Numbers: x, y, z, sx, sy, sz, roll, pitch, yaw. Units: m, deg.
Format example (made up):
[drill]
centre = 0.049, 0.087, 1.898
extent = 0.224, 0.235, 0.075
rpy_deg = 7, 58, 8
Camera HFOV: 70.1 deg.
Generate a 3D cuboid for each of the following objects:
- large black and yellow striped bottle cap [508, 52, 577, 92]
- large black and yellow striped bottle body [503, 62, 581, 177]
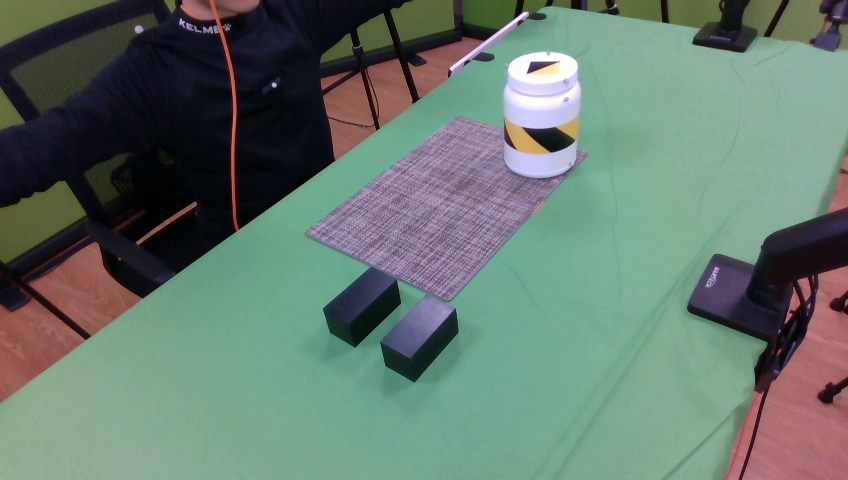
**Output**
[large black and yellow striped bottle cap]
centre = 0.197, -0.281, 1.008
extent = 0.115, 0.019, 0.114
rpy_deg = -4, 42, 4
[large black and yellow striped bottle body]
centre = 0.206, -0.218, 1.061
extent = 0.131, 0.185, 0.130
rpy_deg = -4, 41, 4
